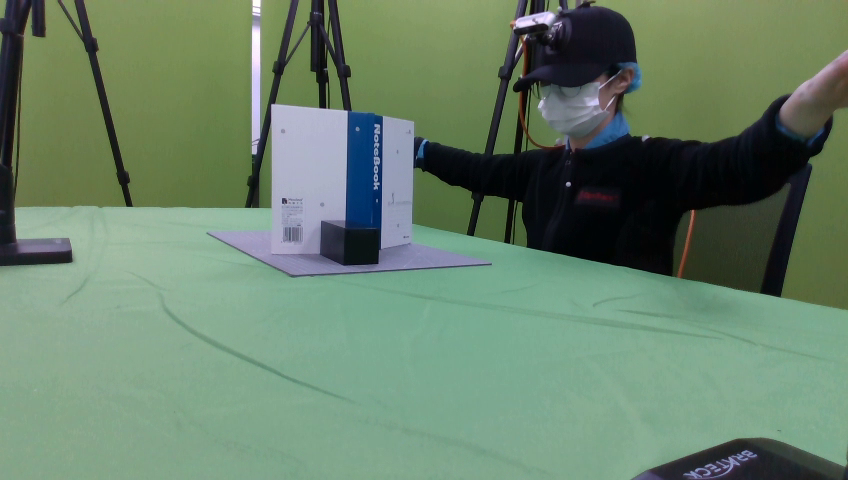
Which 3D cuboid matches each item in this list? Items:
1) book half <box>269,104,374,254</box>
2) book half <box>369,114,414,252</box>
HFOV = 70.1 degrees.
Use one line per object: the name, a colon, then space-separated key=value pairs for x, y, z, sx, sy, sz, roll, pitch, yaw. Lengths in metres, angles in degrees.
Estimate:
book half: x=-0.148 y=-0.084 z=0.877 sx=0.149 sy=0.210 sz=0.016 roll=0 pitch=7 yaw=-22
book half: x=-0.053 y=-0.092 z=0.974 sx=0.007 sy=0.210 sz=0.144 roll=4 pitch=7 yaw=27
